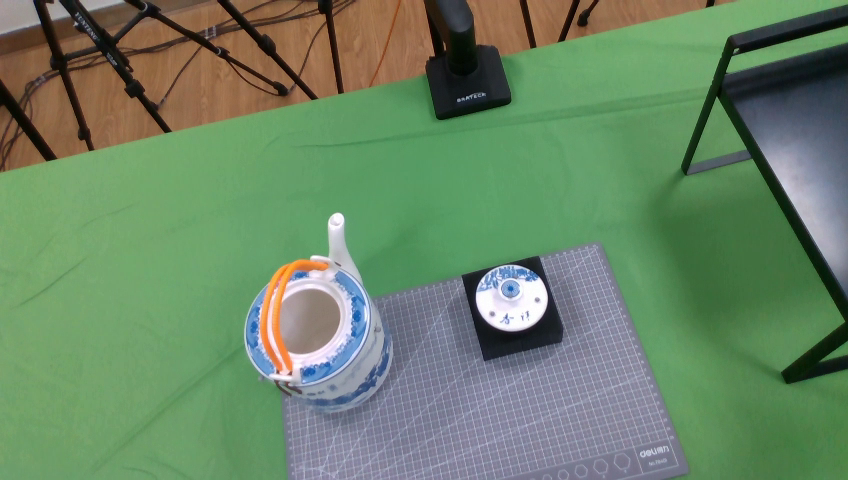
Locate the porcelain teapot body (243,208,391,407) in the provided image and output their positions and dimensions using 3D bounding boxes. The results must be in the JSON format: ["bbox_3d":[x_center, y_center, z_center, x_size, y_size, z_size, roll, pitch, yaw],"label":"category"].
[{"bbox_3d":[-0.120,0.070,0.697,0.145,0.227,0.204,6,64,12],"label":"porcelain teapot body"}]

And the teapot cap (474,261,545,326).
[{"bbox_3d":[0.100,0.060,0.712,0.085,0.044,0.084,-4,60,8],"label":"teapot cap"}]
